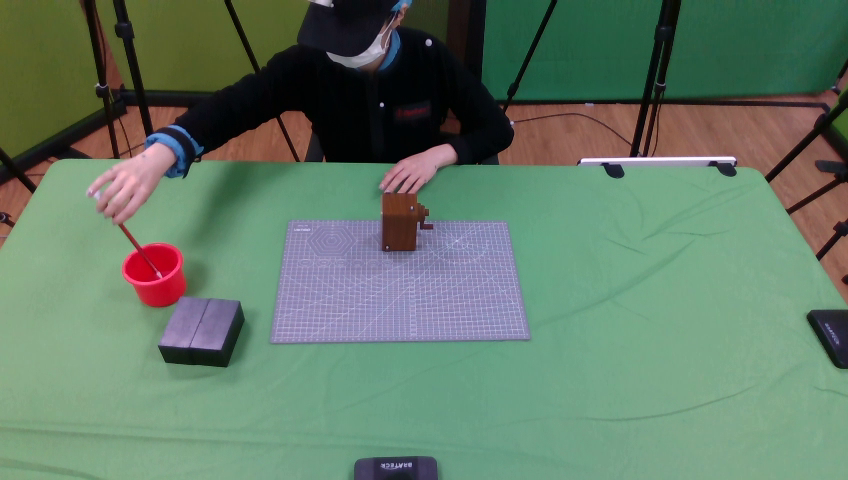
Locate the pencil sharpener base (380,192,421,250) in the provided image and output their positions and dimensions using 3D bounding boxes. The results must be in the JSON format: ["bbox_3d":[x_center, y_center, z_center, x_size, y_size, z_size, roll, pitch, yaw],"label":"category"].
[{"bbox_3d":[-0.046,-0.035,1.163,0.077,0.107,0.061,0,46,-4],"label":"pencil sharpener base"}]

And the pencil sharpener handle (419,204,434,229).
[{"bbox_3d":[0.006,-0.045,1.160,0.031,0.068,0.036,0,52,-4],"label":"pencil sharpener handle"}]

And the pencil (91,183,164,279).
[{"bbox_3d":[-0.496,-0.013,1.018,0.012,0.012,0.194,-39,101,-33],"label":"pencil"}]
